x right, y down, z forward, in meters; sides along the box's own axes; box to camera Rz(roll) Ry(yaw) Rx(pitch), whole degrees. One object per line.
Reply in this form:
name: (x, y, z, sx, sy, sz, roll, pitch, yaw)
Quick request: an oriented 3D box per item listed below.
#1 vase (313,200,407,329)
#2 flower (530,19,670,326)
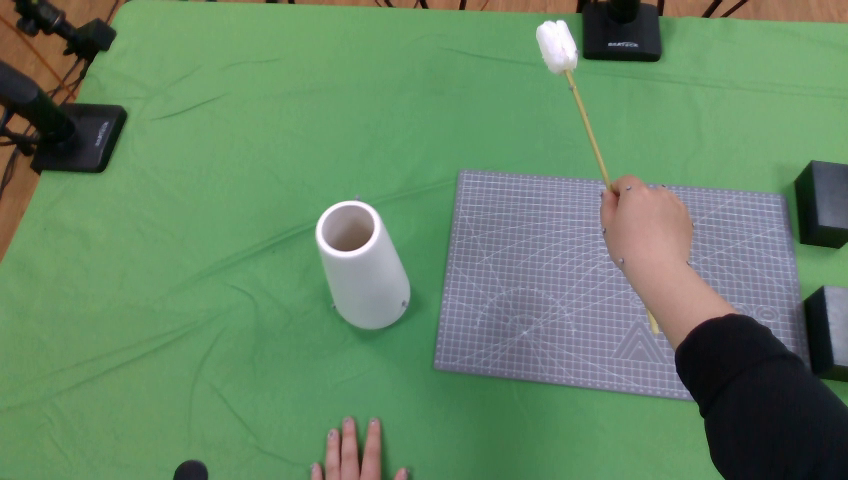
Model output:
vase: (-0.073, 0.033, 0.708, 0.098, 0.201, 0.097, -1, 62, 2)
flower: (0.183, -0.081, 0.633, 0.038, 0.044, 0.359, -30, 67, 36)
